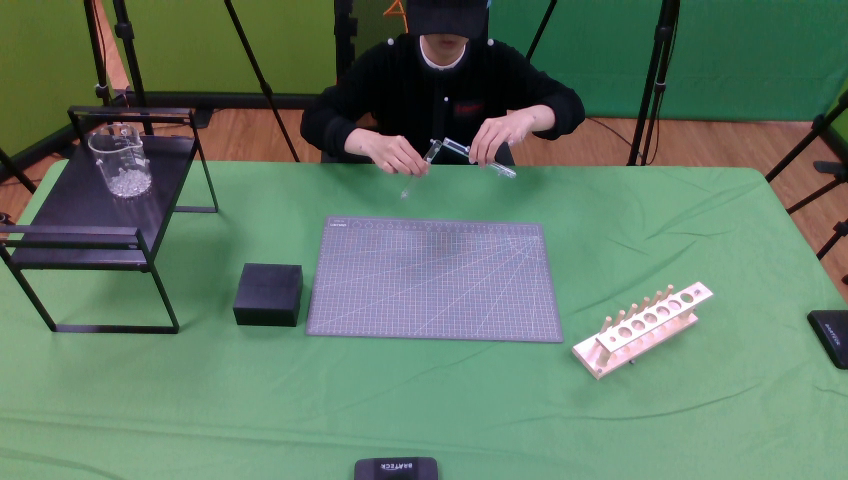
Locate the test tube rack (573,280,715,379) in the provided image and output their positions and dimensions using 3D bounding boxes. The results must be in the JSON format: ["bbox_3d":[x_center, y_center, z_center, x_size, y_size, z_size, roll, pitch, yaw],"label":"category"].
[{"bbox_3d":[0.378,0.140,1.038,0.242,0.085,0.066,-22,51,-23],"label":"test tube rack"}]

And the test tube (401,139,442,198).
[{"bbox_3d":[-0.007,-0.131,1.137,0.017,0.150,0.017,20,42,-19],"label":"test tube"}]

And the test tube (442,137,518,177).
[{"bbox_3d":[0.102,-0.149,1.090,0.151,0.017,0.017,24,47,-6],"label":"test tube"}]

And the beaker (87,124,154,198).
[{"bbox_3d":[-0.482,-0.124,0.978,0.084,0.101,0.073,9,46,4],"label":"beaker"}]
